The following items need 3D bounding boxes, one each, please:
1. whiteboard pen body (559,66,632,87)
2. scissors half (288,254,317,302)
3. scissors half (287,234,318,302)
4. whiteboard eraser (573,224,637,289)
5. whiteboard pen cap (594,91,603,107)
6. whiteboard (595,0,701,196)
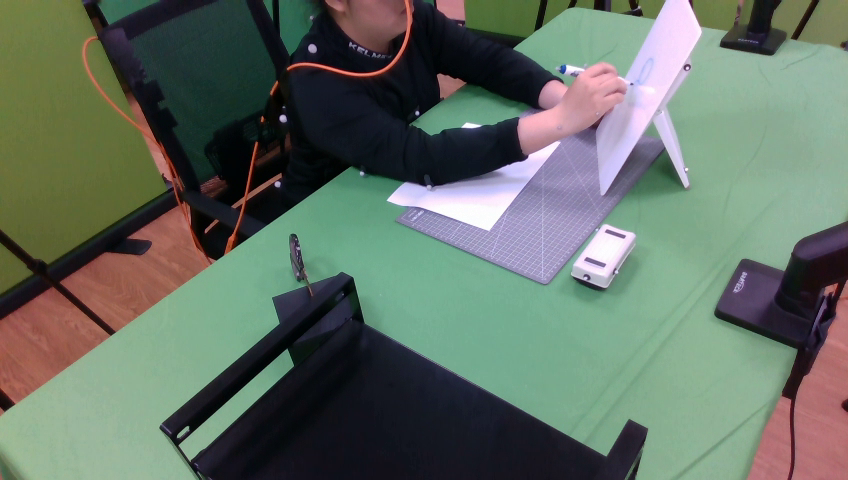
[{"bbox_3d":[0.293,-0.275,1.025,0.141,0.017,0.017,7,37,-17],"label":"whiteboard pen body"},{"bbox_3d":[-0.178,0.058,0.894,0.013,0.040,0.174,-16,21,-18],"label":"scissors half"},{"bbox_3d":[-0.178,0.040,0.885,0.013,0.040,0.173,-11,37,-21],"label":"scissors half"},{"bbox_3d":[0.267,0.026,0.891,0.055,0.042,0.113,19,47,31],"label":"whiteboard eraser"},{"bbox_3d":[0.364,-0.294,1.262,0.018,0.033,0.018,-5,41,5],"label":"whiteboard pen cap"},{"bbox_3d":[0.421,-0.227,1.010,0.144,0.305,0.216,18,42,-2],"label":"whiteboard"}]
